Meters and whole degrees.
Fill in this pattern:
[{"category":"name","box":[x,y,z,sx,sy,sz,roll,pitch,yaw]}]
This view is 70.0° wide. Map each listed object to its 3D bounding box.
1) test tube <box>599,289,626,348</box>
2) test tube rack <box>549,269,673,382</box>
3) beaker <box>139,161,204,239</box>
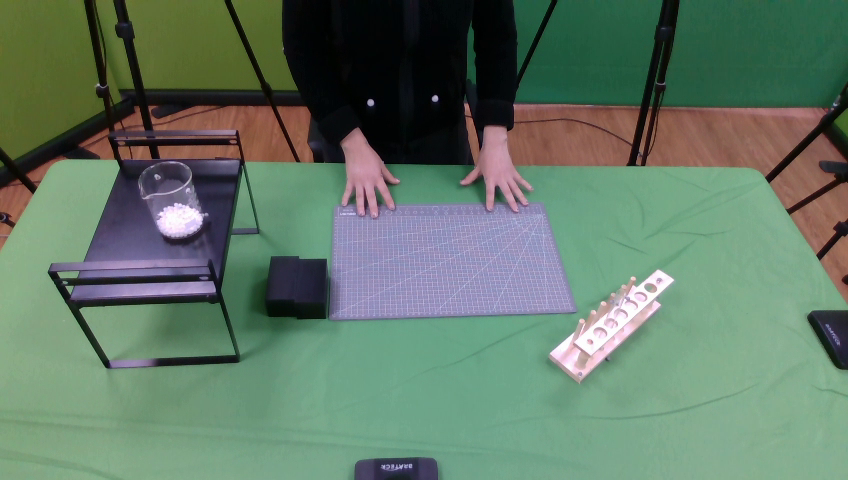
[{"category":"test tube","box":[0.302,0.130,0.982,0.017,0.151,0.017,0,47,0]},{"category":"test tube rack","box":[0.325,0.134,1.047,0.242,0.085,0.066,-32,56,-30]},{"category":"beaker","box":[-0.381,-0.056,0.920,0.074,0.101,0.084,22,49,18]}]
